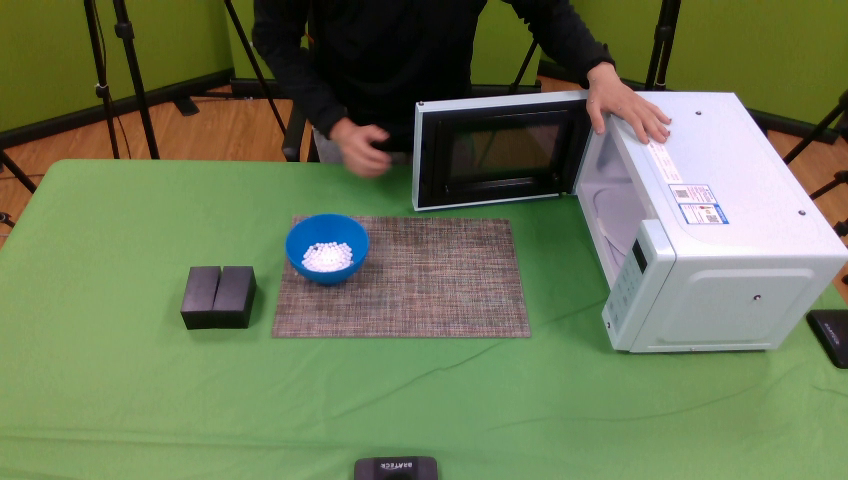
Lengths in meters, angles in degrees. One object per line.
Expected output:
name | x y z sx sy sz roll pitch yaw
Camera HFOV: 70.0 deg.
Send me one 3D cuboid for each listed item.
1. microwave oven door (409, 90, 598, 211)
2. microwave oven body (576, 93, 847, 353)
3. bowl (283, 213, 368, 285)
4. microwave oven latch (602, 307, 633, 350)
microwave oven door | 0.152 -0.176 1.208 0.356 0.245 0.039 -7 47 -11
microwave oven body | 0.475 -0.041 1.109 0.326 0.261 0.438 -1 45 -4
bowl | -0.178 0.030 1.114 0.151 0.077 0.150 3 45 -2
microwave oven latch | 0.332 0.153 1.044 0.030 0.029 0.078 -1 45 -4
